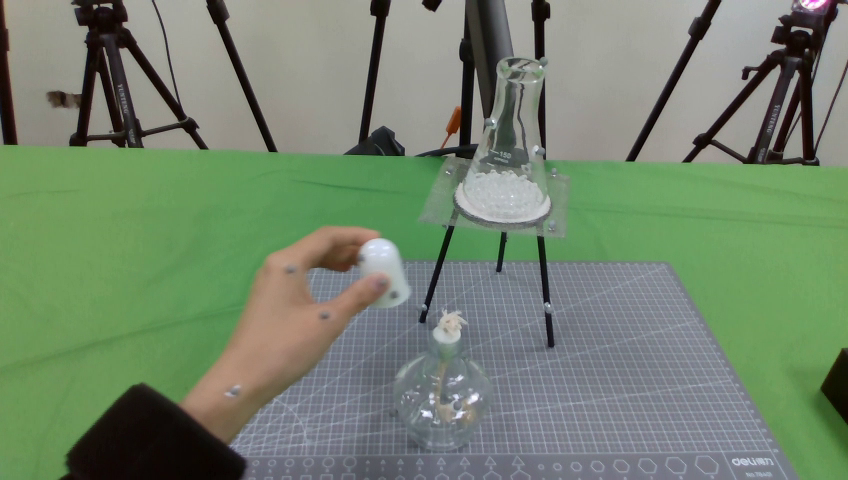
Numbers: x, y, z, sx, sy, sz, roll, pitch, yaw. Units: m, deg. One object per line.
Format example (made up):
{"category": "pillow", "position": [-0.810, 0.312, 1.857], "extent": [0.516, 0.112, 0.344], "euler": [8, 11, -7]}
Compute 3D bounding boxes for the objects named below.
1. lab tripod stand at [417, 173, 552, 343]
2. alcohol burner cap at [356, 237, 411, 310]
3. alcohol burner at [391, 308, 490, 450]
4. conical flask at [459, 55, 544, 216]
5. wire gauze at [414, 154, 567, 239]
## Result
{"category": "lab tripod stand", "position": [0.069, 0.015, 0.575], "extent": [0.148, 0.132, 0.147], "euler": [3, 34, -2]}
{"category": "alcohol burner cap", "position": [-0.029, 0.021, 0.413], "extent": [0.034, 0.048, 0.033], "euler": [-9, 31, 6]}
{"category": "alcohol burner", "position": [0.013, 0.102, 0.461], "extent": [0.078, 0.120, 0.077], "euler": [1, 32, 0]}
{"category": "conical flask", "position": [0.070, -0.087, 0.501], "extent": [0.075, 0.123, 0.074], "euler": [2, 35, -1]}
{"category": "wire gauze", "position": [0.065, -0.040, 0.538], "extent": [0.121, 0.011, 0.124], "euler": [9, 37, 10]}
